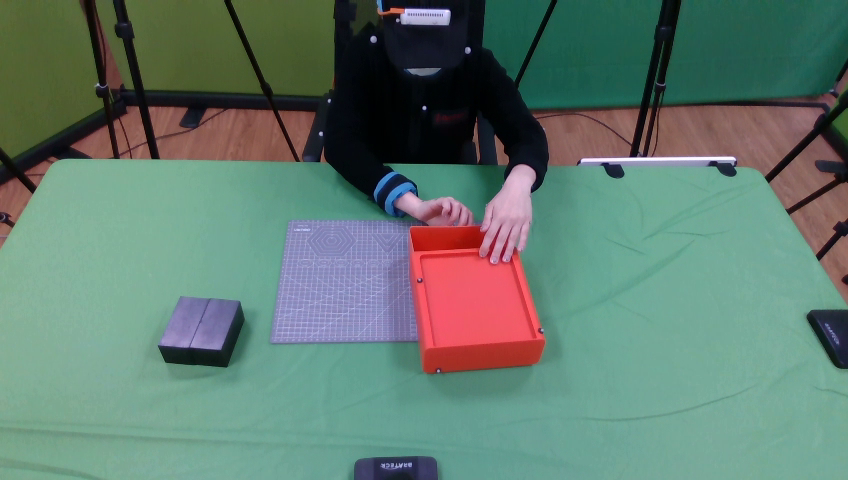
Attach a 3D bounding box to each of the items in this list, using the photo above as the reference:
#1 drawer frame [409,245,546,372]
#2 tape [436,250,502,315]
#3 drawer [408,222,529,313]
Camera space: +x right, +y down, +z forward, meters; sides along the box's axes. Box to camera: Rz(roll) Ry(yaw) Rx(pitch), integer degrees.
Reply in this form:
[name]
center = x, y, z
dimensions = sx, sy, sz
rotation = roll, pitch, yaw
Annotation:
[drawer frame]
center = 0.084, 0.112, 1.049
dimensions = 0.202, 0.083, 0.212
rotation = -3, 47, -8
[tape]
center = 0.079, 0.076, 1.095
dimensions = 0.117, 0.053, 0.116
rotation = 2, 46, -2
[drawer]
center = 0.077, 0.067, 1.095
dimensions = 0.195, 0.073, 0.210
rotation = -2, 48, -7
